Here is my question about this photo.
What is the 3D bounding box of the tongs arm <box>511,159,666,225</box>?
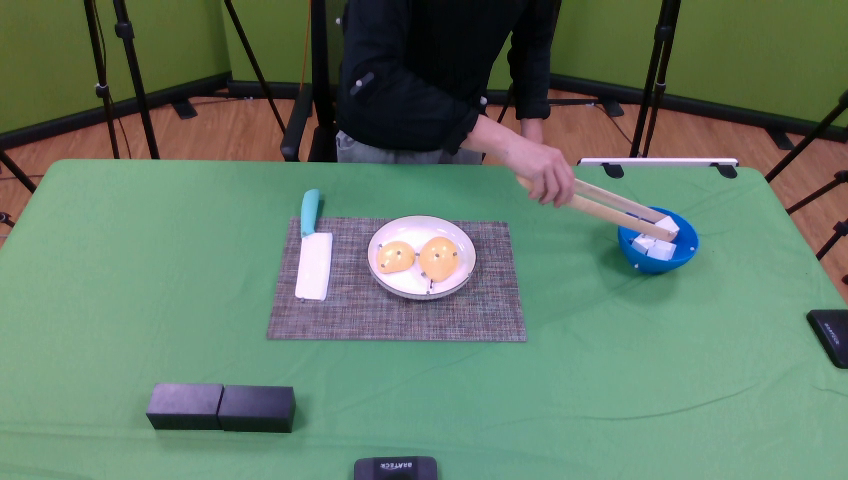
[{"bbox_3d":[0.310,-0.081,1.105,0.389,0.028,0.028,16,43,-30],"label":"tongs arm"}]

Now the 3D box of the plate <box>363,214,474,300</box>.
[{"bbox_3d":[-0.010,0.036,1.146,0.208,0.039,0.206,2,46,-2],"label":"plate"}]

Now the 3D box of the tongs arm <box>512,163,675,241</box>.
[{"bbox_3d":[0.315,-0.062,1.086,0.386,0.026,0.050,14,41,-32],"label":"tongs arm"}]

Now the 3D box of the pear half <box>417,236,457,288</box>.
[{"bbox_3d":[0.022,0.039,1.127,0.076,0.056,0.109,6,50,7],"label":"pear half"}]

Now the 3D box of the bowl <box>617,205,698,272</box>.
[{"bbox_3d":[0.443,0.010,1.183,0.151,0.077,0.150,3,46,-2],"label":"bowl"}]

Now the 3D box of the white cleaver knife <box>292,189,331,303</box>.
[{"bbox_3d":[-0.215,0.006,1.178,0.066,0.021,0.284,6,49,-13],"label":"white cleaver knife"}]

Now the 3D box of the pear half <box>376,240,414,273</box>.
[{"bbox_3d":[-0.058,0.026,1.146,0.070,0.031,0.088,22,43,22],"label":"pear half"}]
